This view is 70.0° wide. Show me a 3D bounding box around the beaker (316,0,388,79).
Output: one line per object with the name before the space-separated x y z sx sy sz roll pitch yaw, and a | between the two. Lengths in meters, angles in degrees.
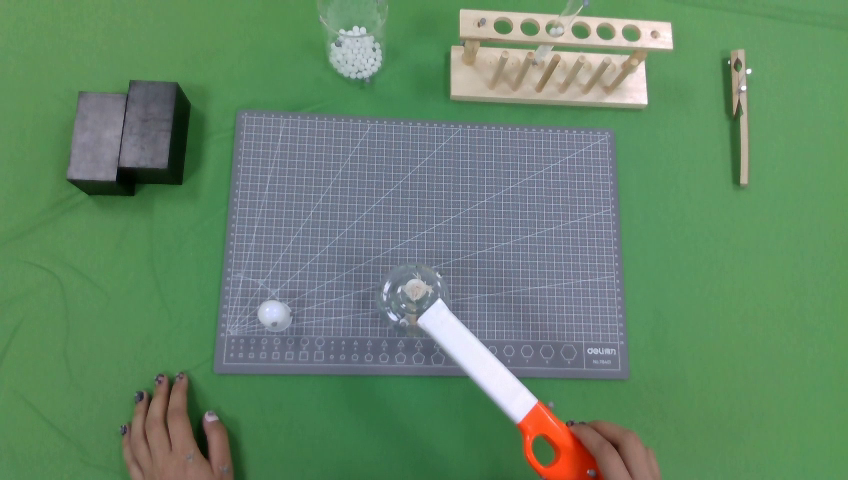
beaker | -0.084 -0.237 0.689 0.084 0.100 0.074 30 76 3

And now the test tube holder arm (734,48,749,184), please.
test tube holder arm | 0.395 -0.156 0.755 0.013 0.015 0.177 -6 75 29

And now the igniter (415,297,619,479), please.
igniter | 0.097 0.161 0.543 0.057 0.025 0.276 -43 85 -17

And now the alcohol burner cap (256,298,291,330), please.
alcohol burner cap | -0.159 0.076 0.636 0.034 0.048 0.033 1 77 -5

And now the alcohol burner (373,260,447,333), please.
alcohol burner | -0.013 0.055 0.618 0.078 0.119 0.077 2 75 -6

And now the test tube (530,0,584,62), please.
test tube | 0.148 -0.239 0.667 0.017 0.150 0.017 3 76 -11

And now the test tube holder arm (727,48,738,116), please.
test tube holder arm | 0.392 -0.200 0.768 0.010 0.015 0.087 -4 76 30

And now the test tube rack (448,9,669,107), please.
test tube rack | 0.153 -0.211 0.713 0.243 0.085 0.066 2 76 -5
